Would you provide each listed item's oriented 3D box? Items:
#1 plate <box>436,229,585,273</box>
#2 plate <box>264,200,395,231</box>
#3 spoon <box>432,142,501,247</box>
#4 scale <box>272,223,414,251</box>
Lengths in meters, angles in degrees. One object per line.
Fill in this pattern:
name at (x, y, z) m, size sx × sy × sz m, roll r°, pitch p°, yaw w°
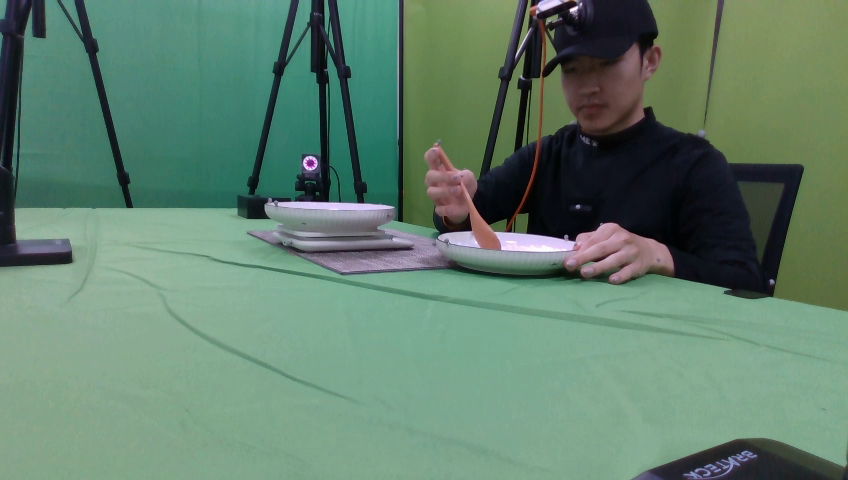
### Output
plate at (0.121, 0.015, 0.855) m, size 0.209 × 0.038 × 0.209 m, roll 3°, pitch 7°, yaw 0°
plate at (-0.150, -0.040, 0.971) m, size 0.208 × 0.039 × 0.207 m, roll 2°, pitch 7°, yaw 0°
spoon at (0.057, -0.064, 0.866) m, size 0.022 × 0.193 × 0.041 m, roll -14°, pitch -24°, yaw -28°
scale at (-0.131, -0.008, 0.983) m, size 0.202 × 0.031 × 0.148 m, roll -2°, pitch 8°, yaw -32°
